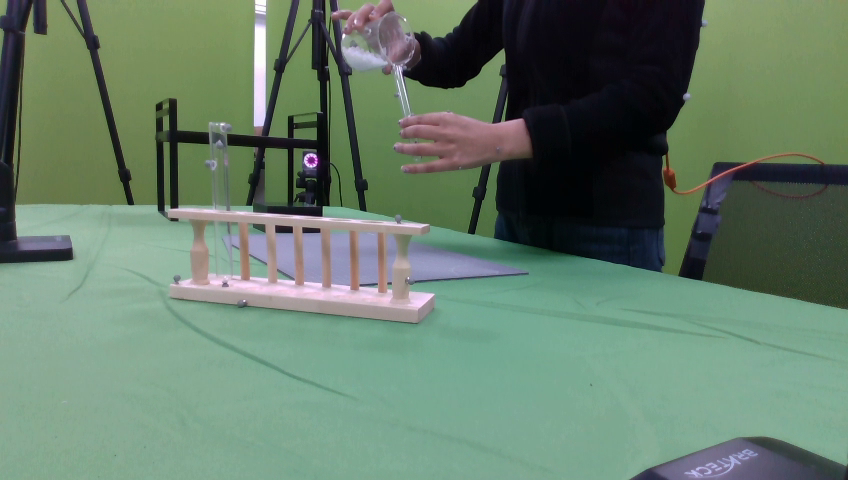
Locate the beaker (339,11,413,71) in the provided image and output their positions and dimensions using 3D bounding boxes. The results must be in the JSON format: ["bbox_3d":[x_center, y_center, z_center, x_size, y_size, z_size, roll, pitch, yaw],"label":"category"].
[{"bbox_3d":[-0.076,-0.300,0.935,0.074,0.084,0.100,-11,11,-43],"label":"beaker"}]

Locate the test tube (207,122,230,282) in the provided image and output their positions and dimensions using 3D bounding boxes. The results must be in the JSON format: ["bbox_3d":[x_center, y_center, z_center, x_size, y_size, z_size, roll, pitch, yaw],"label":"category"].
[{"bbox_3d":[-0.192,-0.034,0.564,0.017,0.150,0.017,2,11,0],"label":"test tube"}]

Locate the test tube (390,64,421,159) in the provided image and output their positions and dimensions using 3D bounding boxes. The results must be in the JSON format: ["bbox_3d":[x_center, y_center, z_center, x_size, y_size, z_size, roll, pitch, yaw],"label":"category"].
[{"bbox_3d":[-0.027,-0.190,0.895,0.017,0.150,0.017,-13,-10,-2],"label":"test tube"}]

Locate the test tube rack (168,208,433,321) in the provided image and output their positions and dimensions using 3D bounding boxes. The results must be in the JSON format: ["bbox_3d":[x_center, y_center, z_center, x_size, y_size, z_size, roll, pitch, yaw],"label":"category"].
[{"bbox_3d":[-0.116,0.018,0.574,0.242,0.085,0.067,4,8,13],"label":"test tube rack"}]
